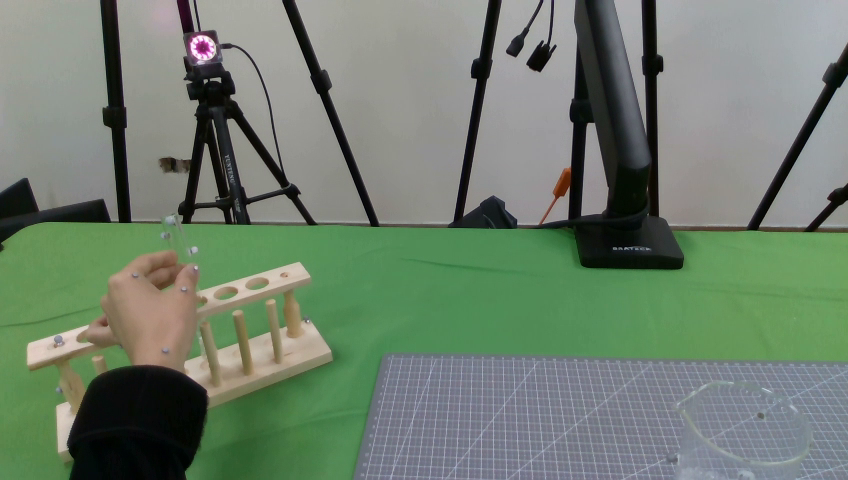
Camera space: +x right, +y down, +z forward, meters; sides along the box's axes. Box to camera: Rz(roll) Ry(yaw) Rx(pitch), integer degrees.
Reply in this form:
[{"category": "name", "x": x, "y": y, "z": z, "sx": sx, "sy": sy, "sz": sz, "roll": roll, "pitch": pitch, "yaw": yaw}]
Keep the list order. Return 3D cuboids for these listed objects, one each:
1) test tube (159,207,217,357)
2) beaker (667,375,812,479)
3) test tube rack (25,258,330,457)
[{"category": "test tube", "x": -0.216, "y": 0.042, "z": 0.559, "sx": 0.017, "sy": 0.151, "sz": 0.017, "roll": -7, "pitch": 21, "yaw": 3}, {"category": "beaker", "x": 0.205, "y": 0.154, "z": 0.414, "sx": 0.083, "sy": 0.101, "sz": 0.074, "roll": 12, "pitch": 33, "yaw": 26}, {"category": "test tube rack", "x": -0.217, "y": 0.101, "z": 0.563, "sx": 0.243, "sy": 0.086, "sz": 0.066, "roll": -17, "pitch": 33, "yaw": -24}]
